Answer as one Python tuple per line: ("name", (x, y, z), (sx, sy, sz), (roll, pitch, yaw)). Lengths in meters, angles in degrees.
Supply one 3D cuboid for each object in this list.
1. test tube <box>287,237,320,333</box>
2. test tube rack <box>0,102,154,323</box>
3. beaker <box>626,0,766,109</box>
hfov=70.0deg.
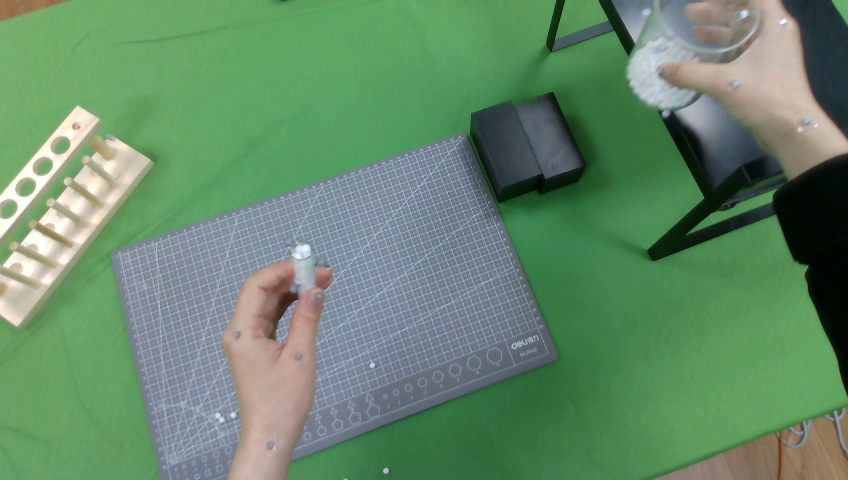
("test tube", (-0.089, 0.039, 0.455), (0.017, 0.151, 0.017), (3, 61, -6))
("test tube rack", (-0.429, -0.030, 0.693), (0.066, 0.085, 0.242), (31, 77, 10))
("beaker", (0.207, -0.159, 0.483), (0.074, 0.101, 0.083), (-30, 76, -6))
